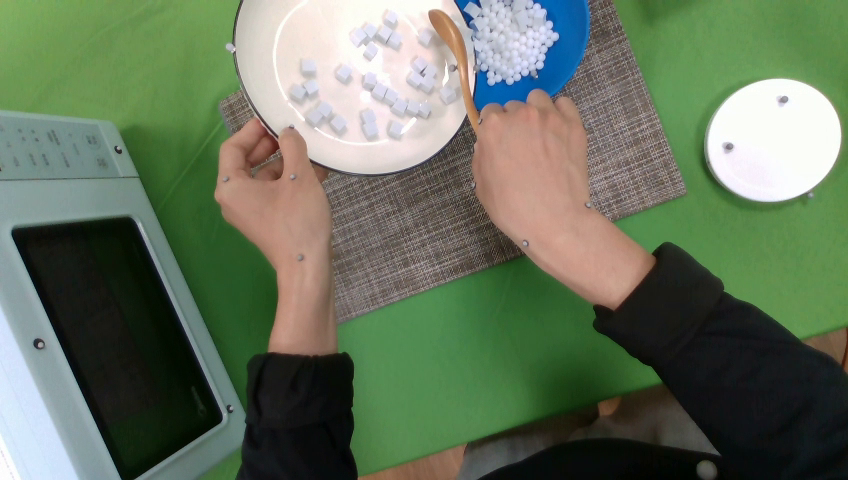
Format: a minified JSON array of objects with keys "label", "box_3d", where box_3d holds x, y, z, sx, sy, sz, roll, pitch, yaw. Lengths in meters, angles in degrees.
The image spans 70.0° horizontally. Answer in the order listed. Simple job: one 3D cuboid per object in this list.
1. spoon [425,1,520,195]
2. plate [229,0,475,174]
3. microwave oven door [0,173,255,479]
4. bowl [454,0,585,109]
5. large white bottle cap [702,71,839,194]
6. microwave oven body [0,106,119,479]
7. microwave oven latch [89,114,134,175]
[{"label":"spoon","box_3d":[0.039,-0.120,0.508,0.022,0.042,0.192,-11,71,-19]},{"label":"plate","box_3d":[-0.058,-0.157,0.525,0.210,0.038,0.208,2,84,-18]},{"label":"microwave oven door","box_3d":[-0.330,0.099,0.652,0.039,0.244,0.355,-25,90,18]},{"label":"bowl","box_3d":[0.082,-0.201,0.590,0.151,0.077,0.151,2,99,16]},{"label":"large white bottle cap","box_3d":[0.325,-0.100,0.570,0.114,0.018,0.115,2,98,15]},{"label":"microwave oven body","box_3d":[-0.473,0.117,0.701,0.326,0.260,0.441,-24,91,17]},{"label":"microwave oven latch","box_3d":[-0.390,-0.114,0.745,0.030,0.029,0.079,-23,92,17]}]
